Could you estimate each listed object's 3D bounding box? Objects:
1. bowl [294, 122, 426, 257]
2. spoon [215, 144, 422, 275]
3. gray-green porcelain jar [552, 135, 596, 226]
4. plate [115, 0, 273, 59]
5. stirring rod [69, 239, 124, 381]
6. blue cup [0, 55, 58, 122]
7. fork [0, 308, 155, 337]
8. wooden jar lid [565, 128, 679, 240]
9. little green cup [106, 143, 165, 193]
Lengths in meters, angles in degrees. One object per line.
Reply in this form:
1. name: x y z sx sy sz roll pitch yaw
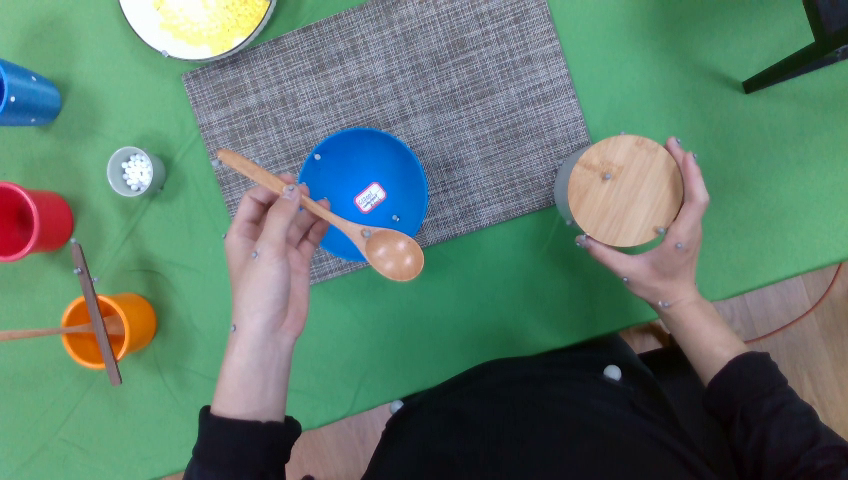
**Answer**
1. bowl: -0.067 -0.058 0.707 0.151 0.077 0.151 1 95 7
2. spoon: -0.087 -0.028 0.510 0.194 0.021 0.041 31 97 -13
3. gray-green porcelain jar: 0.196 -0.061 0.653 0.106 0.126 0.106 0 97 4
4. plate: -0.275 -0.323 0.734 0.209 0.038 0.209 0 95 6
5. stirring rod: -0.390 0.084 0.721 0.014 0.006 0.176 -16 92 6
6. blue cup: -0.510 -0.182 0.741 0.092 0.100 0.093 1 95 8
7. fork: -0.438 0.103 0.731 0.208 0.018 0.028 -2 98 -36
8. wooden jar lid: 0.192 -0.054 0.591 0.108 0.020 0.108 0 96 4
9. little green cup: -0.360 -0.090 0.762 0.061 0.038 0.061 1 95 7
